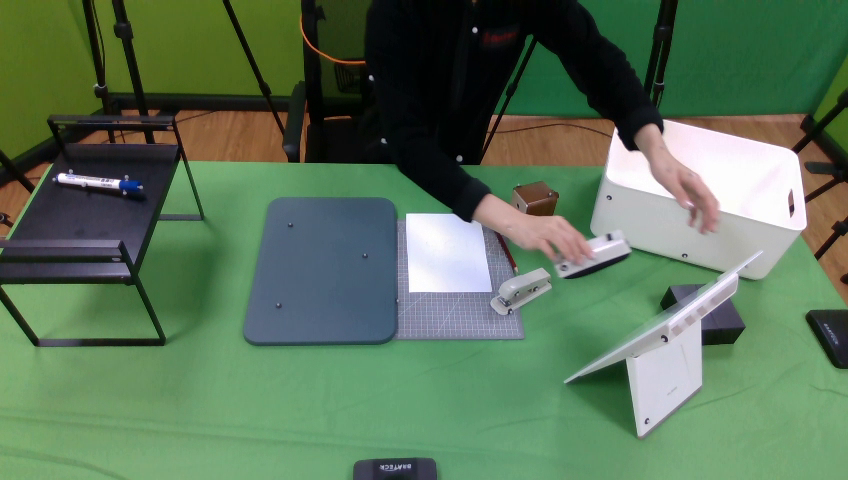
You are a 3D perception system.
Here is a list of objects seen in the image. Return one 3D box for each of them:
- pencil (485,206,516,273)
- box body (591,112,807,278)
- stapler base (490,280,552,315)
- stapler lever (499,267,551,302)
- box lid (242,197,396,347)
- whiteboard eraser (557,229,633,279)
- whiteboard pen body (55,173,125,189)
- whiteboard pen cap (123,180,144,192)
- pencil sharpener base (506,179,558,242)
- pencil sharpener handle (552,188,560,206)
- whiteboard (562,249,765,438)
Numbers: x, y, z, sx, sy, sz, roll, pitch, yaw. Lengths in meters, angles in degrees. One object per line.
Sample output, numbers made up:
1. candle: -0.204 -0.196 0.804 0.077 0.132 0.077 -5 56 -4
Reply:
1. pencil: 0.155 -0.002 1.217 0.012 0.012 0.192 -7 45 -11
2. box body: 0.540 -0.092 1.229 0.363 0.161 0.253 16 47 11
3. stapler base: 0.181 0.094 1.118 0.130 0.024 0.041 -24 57 -29
4. stapler lever: 0.185 0.076 1.101 0.118 0.040 0.026 -25 57 -29
5. box lid: -0.186 0.046 1.147 0.263 0.015 0.369 0 46 -3
6. whiteboard eraser: 0.263 0.025 0.933 0.112 0.042 0.055 -23 18 18
7. whiteboard pen body: -0.539 -0.095 0.998 0.141 0.017 0.017 6 46 6
8. whiteboard pen cap: -0.479 -0.089 0.993 0.033 0.018 0.018 7 46 14
9. pencil sharpener base: 0.216 -0.059 1.211 0.077 0.107 0.061 -16 49 -19
10. pencil sharpener handle: 0.262 -0.084 1.221 0.031 0.068 0.036 -16 66 -19
11. whiteboard: 0.386 0.175 0.905 0.217 0.306 0.143 -26 72 -26
